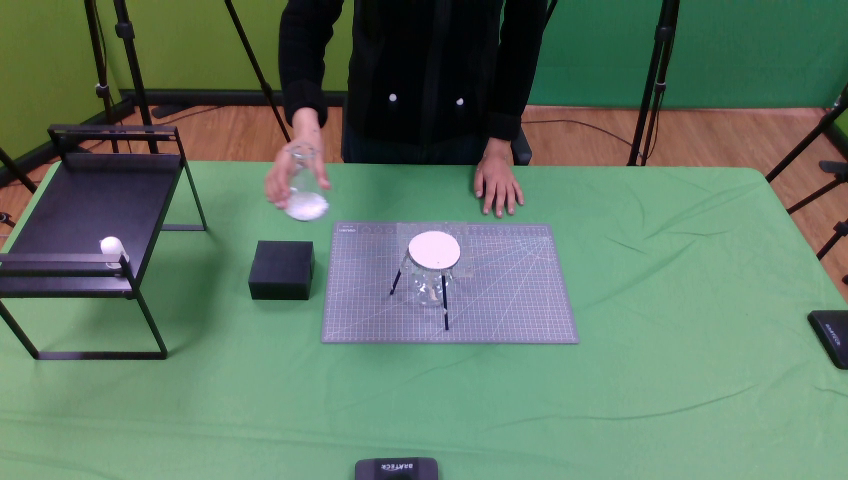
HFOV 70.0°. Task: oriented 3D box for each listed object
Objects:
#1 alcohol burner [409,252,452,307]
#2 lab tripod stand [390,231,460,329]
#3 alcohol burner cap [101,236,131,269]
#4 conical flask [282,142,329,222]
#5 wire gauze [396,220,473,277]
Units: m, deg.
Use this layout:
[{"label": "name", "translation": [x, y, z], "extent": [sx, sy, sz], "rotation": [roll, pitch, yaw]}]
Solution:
[{"label": "alcohol burner", "translation": [0.013, 0.063, 1.071], "extent": [0.078, 0.119, 0.077], "rotation": [4, 45, -4]}, {"label": "lab tripod stand", "translation": [0.015, 0.063, 1.058], "extent": [0.148, 0.132, 0.147], "rotation": [4, 46, -4]}, {"label": "alcohol burner cap", "translation": [-0.452, 0.016, 0.883], "extent": [0.034, 0.048, 0.033], "rotation": [2, 45, -2]}, {"label": "conical flask", "translation": [-0.186, -0.093, 0.944], "extent": [0.075, 0.122, 0.075], "rotation": [5, 45, -4]}, {"label": "wire gauze", "translation": [0.016, 0.012, 1.013], "extent": [0.125, 0.011, 0.120], "rotation": [1, 47, -5]}]
